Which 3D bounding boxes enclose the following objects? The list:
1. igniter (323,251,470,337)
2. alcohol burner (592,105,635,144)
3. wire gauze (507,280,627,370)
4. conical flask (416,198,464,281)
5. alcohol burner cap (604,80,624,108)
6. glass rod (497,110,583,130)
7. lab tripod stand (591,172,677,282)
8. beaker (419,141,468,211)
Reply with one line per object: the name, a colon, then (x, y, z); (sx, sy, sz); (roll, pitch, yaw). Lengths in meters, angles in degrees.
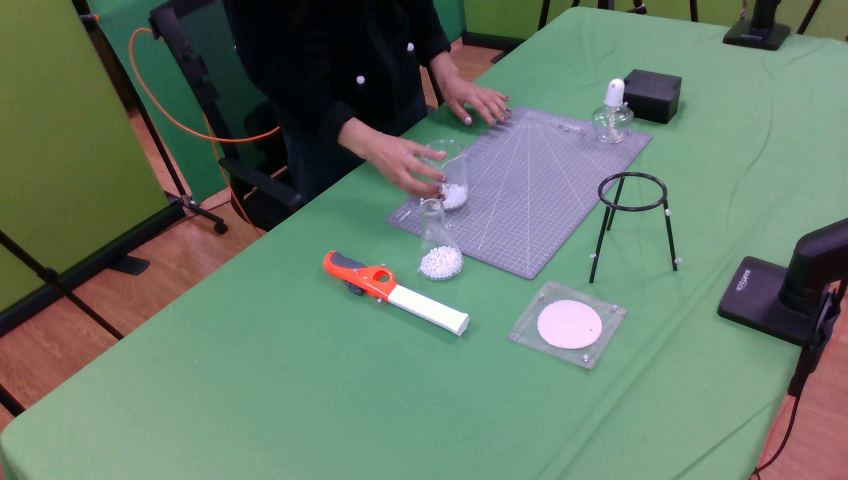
igniter: (-0.052, 0.075, 0.901); (0.274, 0.025, 0.057); (22, 60, 32)
alcohol burner: (0.353, -0.242, 1.126); (0.078, 0.119, 0.077); (-5, 38, 5)
wire gauze: (0.196, 0.114, 0.823); (0.120, 0.011, 0.125); (20, 50, 31)
conical flask: (0.019, -0.004, 0.907); (0.075, 0.122, 0.075); (-5, 40, 5)
alcohol burner cap: (0.350, -0.269, 1.102); (0.034, 0.048, 0.033); (-2, 46, 3)
glass rod: (0.233, -0.245, 1.235); (0.198, 0.008, 0.008); (21, 49, 34)
lab tripod stand: (0.292, -0.022, 0.867); (0.148, 0.132, 0.147); (-7, 39, 6)
beaker: (0.035, -0.104, 1.018); (0.074, 0.101, 0.083); (-1, 38, 12)
